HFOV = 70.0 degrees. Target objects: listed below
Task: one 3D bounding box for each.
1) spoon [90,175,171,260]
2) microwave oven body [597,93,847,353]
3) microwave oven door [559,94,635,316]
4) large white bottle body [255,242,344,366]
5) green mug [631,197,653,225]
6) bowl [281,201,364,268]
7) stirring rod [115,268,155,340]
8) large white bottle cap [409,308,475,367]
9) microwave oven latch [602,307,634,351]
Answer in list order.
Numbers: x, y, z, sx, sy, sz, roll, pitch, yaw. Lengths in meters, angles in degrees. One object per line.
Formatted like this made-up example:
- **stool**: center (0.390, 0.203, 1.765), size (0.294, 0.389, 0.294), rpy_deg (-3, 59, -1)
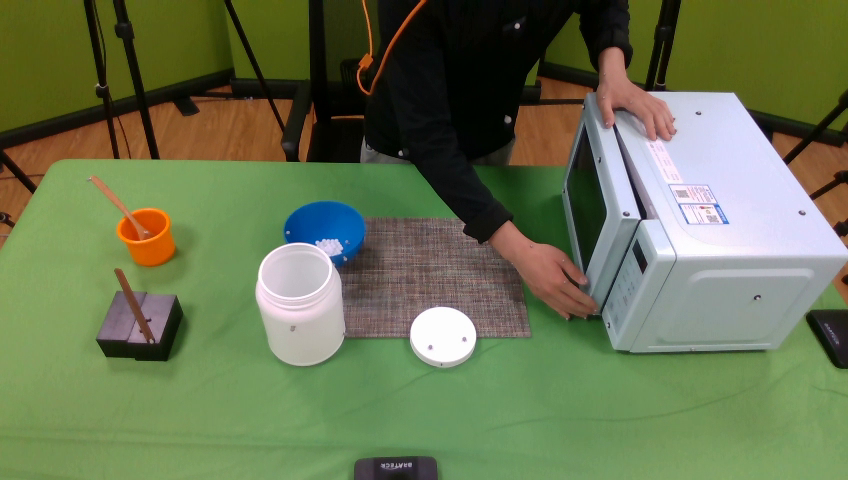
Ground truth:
- **spoon**: center (-0.539, -0.042, 1.111), size (0.021, 0.194, 0.041), rpy_deg (-13, 27, 53)
- **microwave oven body**: center (0.475, -0.042, 1.109), size (0.326, 0.261, 0.438), rpy_deg (-1, 45, -4)
- **microwave oven door**: center (0.311, -0.074, 1.123), size (0.039, 0.245, 0.353), rpy_deg (3, 46, -1)
- **large white bottle body**: center (-0.196, 0.102, 0.967), size (0.131, 0.185, 0.130), rpy_deg (2, 49, -2)
- **green mug**: center (0.455, -0.059, 1.156), size (0.125, 0.105, 0.092), rpy_deg (-12, 46, -10)
- **bowl**: center (-0.187, 0.005, 1.138), size (0.151, 0.077, 0.150), rpy_deg (3, 46, -3)
- **stirring rod**: center (-0.479, 0.103, 0.999), size (0.014, 0.006, 0.175), rpy_deg (8, 32, -49)
- **large white bottle cap**: center (0.031, 0.166, 1.041), size (0.115, 0.018, 0.114), rpy_deg (2, 46, -2)
- **microwave oven latch**: center (0.332, 0.153, 1.044), size (0.030, 0.029, 0.078), rpy_deg (-1, 45, -4)
